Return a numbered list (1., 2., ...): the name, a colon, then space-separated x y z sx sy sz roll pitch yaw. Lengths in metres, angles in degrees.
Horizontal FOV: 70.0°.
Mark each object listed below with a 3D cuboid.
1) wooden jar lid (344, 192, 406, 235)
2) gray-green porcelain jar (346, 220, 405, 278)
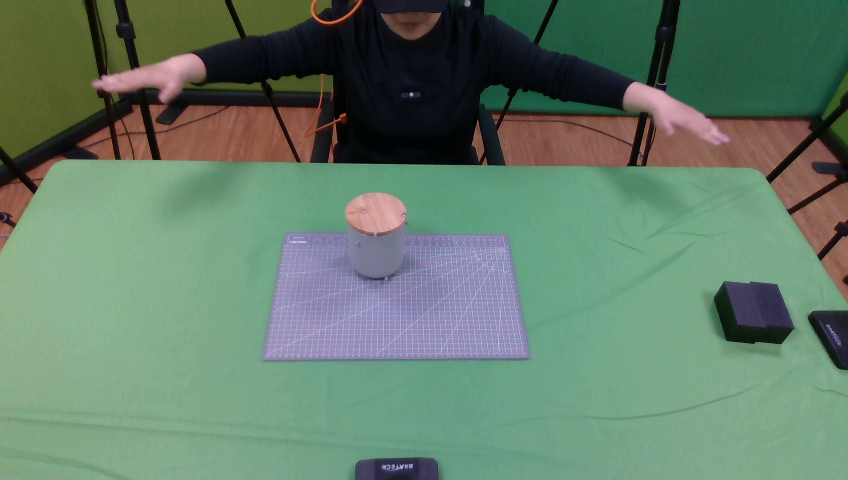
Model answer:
1. wooden jar lid: -0.086 -0.043 1.071 0.108 0.021 0.107 4 45 -3
2. gray-green porcelain jar: -0.089 0.000 1.116 0.106 0.127 0.105 2 46 -2
